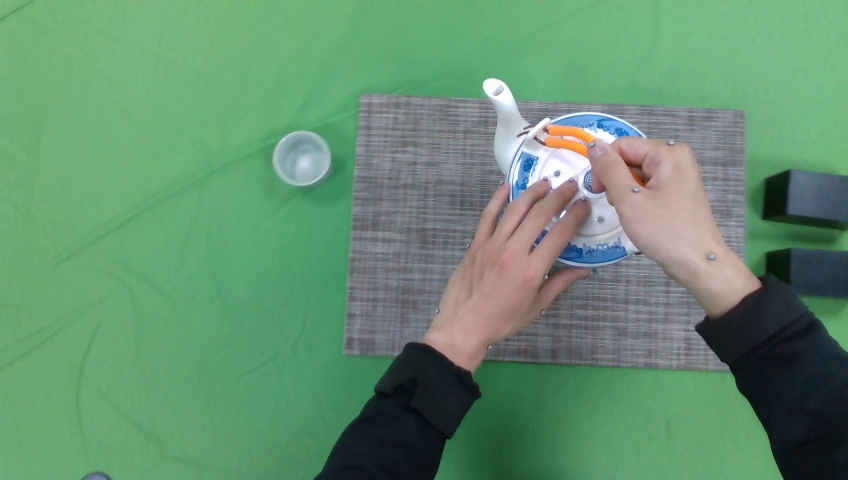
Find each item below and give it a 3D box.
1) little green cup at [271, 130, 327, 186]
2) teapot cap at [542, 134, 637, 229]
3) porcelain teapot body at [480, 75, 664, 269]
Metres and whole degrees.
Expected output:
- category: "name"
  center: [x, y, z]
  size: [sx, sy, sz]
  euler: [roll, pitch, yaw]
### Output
- category: "little green cup"
  center: [-0.139, -0.090, 0.686]
  size: [0.061, 0.039, 0.061]
  euler: [0, 84, 1]
- category: "teapot cap"
  center: [0.145, -0.052, 0.530]
  size: [0.085, 0.044, 0.085]
  euler: [-1, 81, 4]
- category: "porcelain teapot body"
  center: [0.125, -0.068, 0.572]
  size: [0.205, 0.226, 0.145]
  euler: [43, 88, 5]
